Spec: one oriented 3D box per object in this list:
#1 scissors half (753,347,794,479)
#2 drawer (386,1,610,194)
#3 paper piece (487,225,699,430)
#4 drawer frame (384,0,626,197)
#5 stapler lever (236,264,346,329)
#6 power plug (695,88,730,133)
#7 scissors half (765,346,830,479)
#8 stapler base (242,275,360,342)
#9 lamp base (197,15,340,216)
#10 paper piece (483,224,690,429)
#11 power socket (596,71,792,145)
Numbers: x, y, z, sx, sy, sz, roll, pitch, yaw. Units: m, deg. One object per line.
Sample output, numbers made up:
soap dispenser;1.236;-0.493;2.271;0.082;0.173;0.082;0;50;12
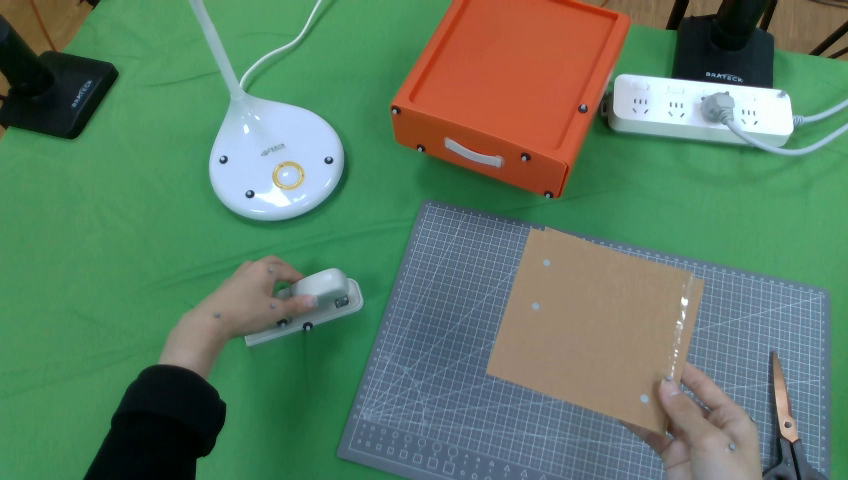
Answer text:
scissors half;0.331;0.182;0.573;0.040;0.013;0.174;16;61;0
drawer;0.091;-0.177;0.678;0.194;0.074;0.211;21;66;13
paper piece;0.138;0.064;0.492;0.134;0.004;0.135;21;68;19
drawer frame;0.092;-0.182;0.682;0.201;0.083;0.212;21;67;13
stapler lever;-0.138;0.057;0.622;0.118;0.040;0.026;-19;61;-5
power plug;0.330;-0.144;0.702;0.035;0.053;0.072;18;66;11
scissors half;0.351;0.184;0.574;0.040;0.013;0.173;-1;62;-4
stapler base;-0.135;0.068;0.646;0.130;0.024;0.041;-18;62;-6
lamp base;-0.192;-0.142;0.664;0.160;0.182;0.177;-37;65;-16
paper piece;0.130;0.062;0.479;0.135;0.009;0.137;16;67;12
power socket;0.327;-0.161;0.736;0.226;0.033;0.071;8;65;6
